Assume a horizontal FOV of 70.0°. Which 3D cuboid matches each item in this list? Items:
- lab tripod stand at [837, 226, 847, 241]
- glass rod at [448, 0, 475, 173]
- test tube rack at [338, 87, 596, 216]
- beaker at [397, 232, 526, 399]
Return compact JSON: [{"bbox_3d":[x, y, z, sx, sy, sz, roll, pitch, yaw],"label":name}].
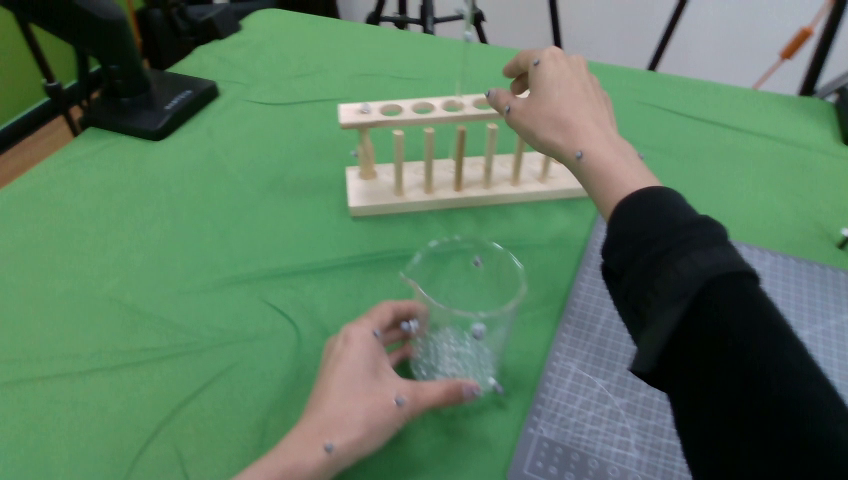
[{"bbox_3d":[0.451,-0.038,0.502,0.148,0.132,0.147,1,43,-1],"label":"lab tripod stand"},{"bbox_3d":[0.032,-0.138,0.546,0.008,0.201,0.008,2,47,-2],"label":"glass rod"},{"bbox_3d":[0.043,-0.087,0.589,0.243,0.086,0.066,-5,43,-6],"label":"test tube rack"},{"bbox_3d":[0.021,0.056,0.422,0.084,0.101,0.073,2,42,-4],"label":"beaker"}]
